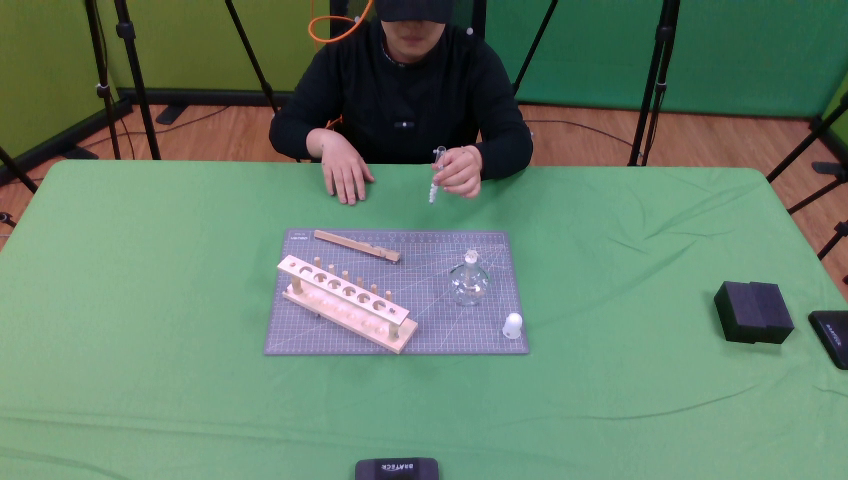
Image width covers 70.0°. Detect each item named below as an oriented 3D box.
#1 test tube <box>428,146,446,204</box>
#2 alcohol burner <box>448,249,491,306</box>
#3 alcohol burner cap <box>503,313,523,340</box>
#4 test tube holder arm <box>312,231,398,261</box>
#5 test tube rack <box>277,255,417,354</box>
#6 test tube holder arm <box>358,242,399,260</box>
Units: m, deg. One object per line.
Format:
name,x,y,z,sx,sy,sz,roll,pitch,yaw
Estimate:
test tube,0.022,-0.115,1.102,0.017,0.151,0.017,4,55,-5
alcohol burner,0.081,0.062,1.078,0.078,0.120,0.077,1,45,-1
alcohol burner cap,0.155,0.147,1.051,0.034,0.048,0.033,1,45,-1
test tube holder arm,-0.134,0.011,1.175,0.178,0.015,0.013,15,13,11
test tube rack,-0.131,0.099,1.045,0.241,0.085,0.066,23,49,17
test tube holder arm,-0.090,0.021,1.172,0.087,0.015,0.010,15,13,11
